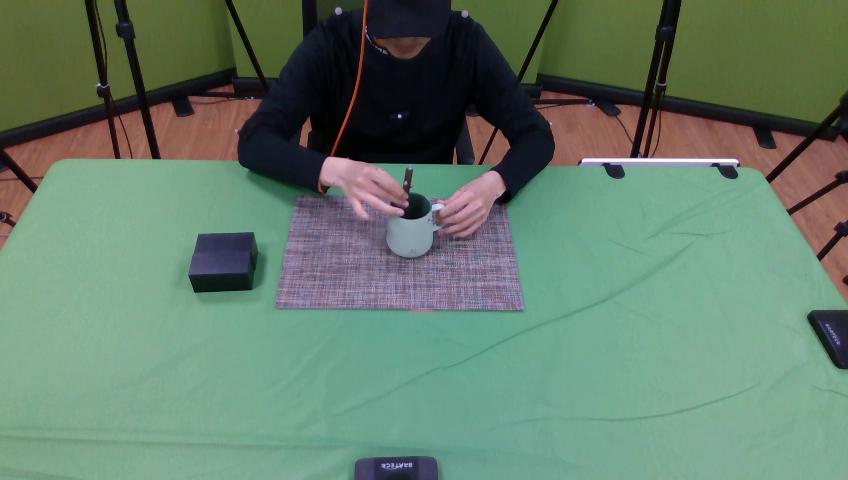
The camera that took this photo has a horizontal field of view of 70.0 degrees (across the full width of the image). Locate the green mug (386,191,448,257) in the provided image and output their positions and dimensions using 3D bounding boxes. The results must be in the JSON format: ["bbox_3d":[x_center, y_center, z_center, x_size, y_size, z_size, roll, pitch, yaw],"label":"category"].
[{"bbox_3d":[-0.012,-0.034,1.165,0.125,0.105,0.092,-17,49,-19],"label":"green mug"}]

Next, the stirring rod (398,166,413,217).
[{"bbox_3d":[-0.037,-0.074,1.131,0.014,0.177,0.006,3,51,-8],"label":"stirring rod"}]
